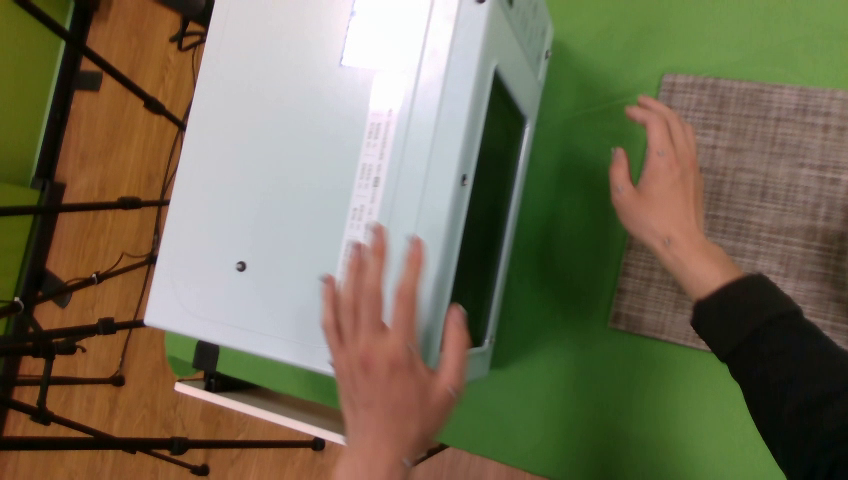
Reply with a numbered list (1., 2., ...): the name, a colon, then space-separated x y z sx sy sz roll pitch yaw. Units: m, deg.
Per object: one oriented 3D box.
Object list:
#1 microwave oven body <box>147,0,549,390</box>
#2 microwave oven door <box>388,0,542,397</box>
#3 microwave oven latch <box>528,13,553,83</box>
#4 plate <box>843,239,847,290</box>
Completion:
1. microwave oven body: -0.071 -0.093 0.679 0.324 0.262 0.441 10 88 21
2. microwave oven door: 0.052 -0.029 0.620 0.039 0.245 0.355 10 87 22
3. microwave oven latch: 0.134 -0.230 0.723 0.030 0.030 0.079 10 88 21
4. plate: 0.512 0.027 0.568 0.207 0.039 0.207 -3 83 20
